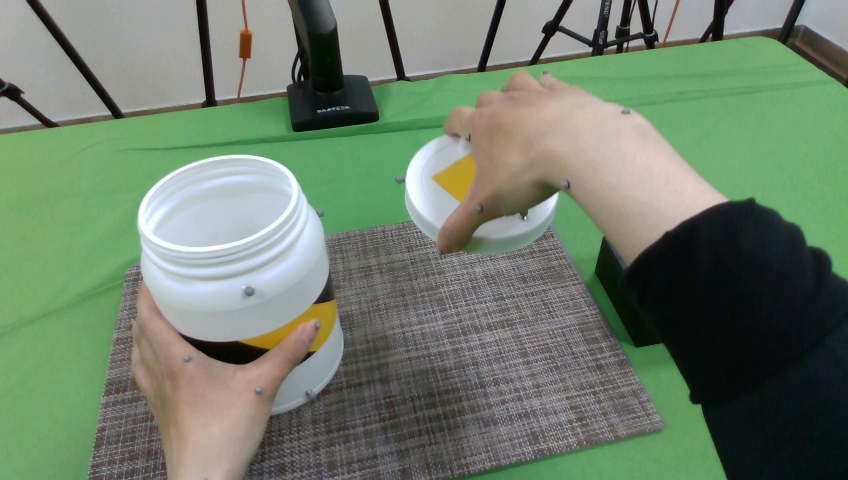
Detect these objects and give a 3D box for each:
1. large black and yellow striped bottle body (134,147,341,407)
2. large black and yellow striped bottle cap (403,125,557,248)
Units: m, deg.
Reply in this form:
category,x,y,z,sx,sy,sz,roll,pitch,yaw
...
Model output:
category,x,y,z,sx,sy,sz,roll,pitch,yaw
large black and yellow striped bottle body,-0.142,0.032,0.481,0.131,0.186,0.129,-1,44,1
large black and yellow striped bottle cap,0.042,-0.043,0.455,0.115,0.019,0.114,0,50,0
